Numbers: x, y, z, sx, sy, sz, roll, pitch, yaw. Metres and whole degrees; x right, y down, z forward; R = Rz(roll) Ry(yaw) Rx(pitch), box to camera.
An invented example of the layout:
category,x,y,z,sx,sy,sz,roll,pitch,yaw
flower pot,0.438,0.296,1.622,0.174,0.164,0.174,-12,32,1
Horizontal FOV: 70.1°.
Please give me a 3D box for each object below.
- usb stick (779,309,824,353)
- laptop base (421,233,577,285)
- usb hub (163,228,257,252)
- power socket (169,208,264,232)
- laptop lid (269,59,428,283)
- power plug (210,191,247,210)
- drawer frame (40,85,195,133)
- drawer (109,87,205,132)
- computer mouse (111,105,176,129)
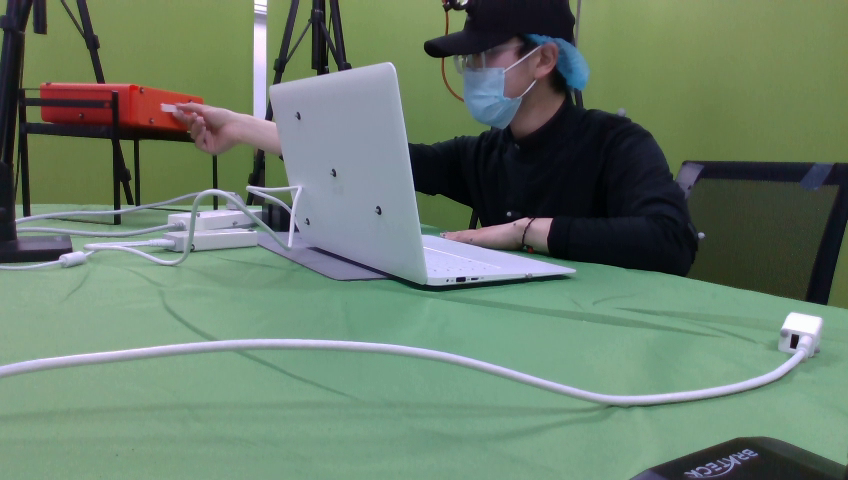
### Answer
category,x,y,z,sx,sy,sz,roll,pitch,yaw
usb stick,0.311,0.072,0.496,0.027,0.021,0.059,7,15,34
laptop base,0.007,0.022,0.850,0.237,0.023,0.352,1,7,-34
usb hub,-0.314,0.000,0.894,0.049,0.025,0.126,9,10,41
power socket,-0.381,-0.038,1.128,0.072,0.032,0.227,4,8,17
laptop lid,-0.110,-0.087,0.752,0.013,0.241,0.355,-18,19,-30
power plug,-0.386,-0.070,1.204,0.072,0.052,0.035,8,10,26
drawer frame,-0.612,-0.266,1.235,0.213,0.082,0.202,4,8,15
drawer,-0.593,-0.263,1.232,0.211,0.073,0.195,3,8,15
computer mouse,-0.565,-0.248,1.221,0.118,0.041,0.062,2,3,-39
